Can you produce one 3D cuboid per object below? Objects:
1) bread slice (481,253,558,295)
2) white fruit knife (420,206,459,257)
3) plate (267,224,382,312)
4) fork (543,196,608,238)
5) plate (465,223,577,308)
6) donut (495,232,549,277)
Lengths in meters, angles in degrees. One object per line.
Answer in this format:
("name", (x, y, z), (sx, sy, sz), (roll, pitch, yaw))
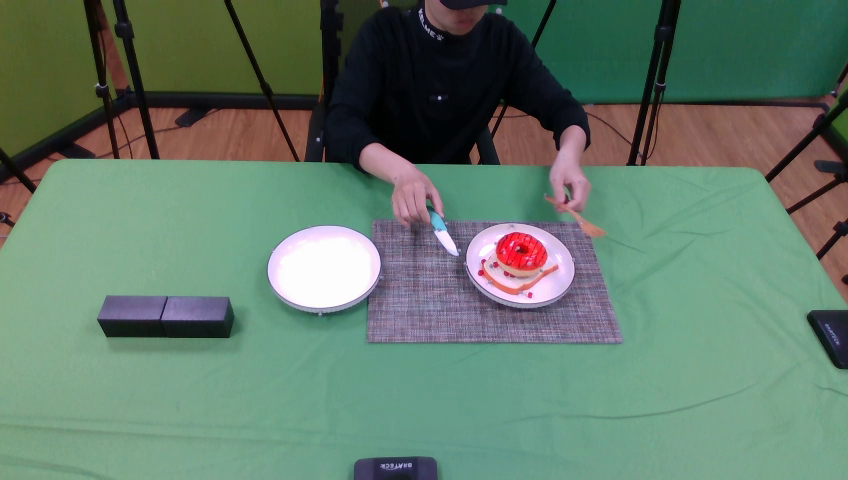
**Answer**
("bread slice", (0.177, 0.050, 1.148), (0.131, 0.019, 0.104), (-31, 55, -31))
("white fruit knife", (0.030, -0.017, 1.125), (0.027, 0.016, 0.206), (-15, 30, -8))
("plate", (-0.182, 0.055, 1.120), (0.208, 0.039, 0.206), (2, 46, -2))
("fork", (0.282, -0.046, 1.155), (0.028, 0.019, 0.206), (5, 25, -24))
("plate", (0.180, 0.051, 1.144), (0.209, 0.038, 0.208), (2, 45, -2))
("donut", (0.180, 0.026, 1.119), (0.099, 0.048, 0.098), (2, 46, -2))
